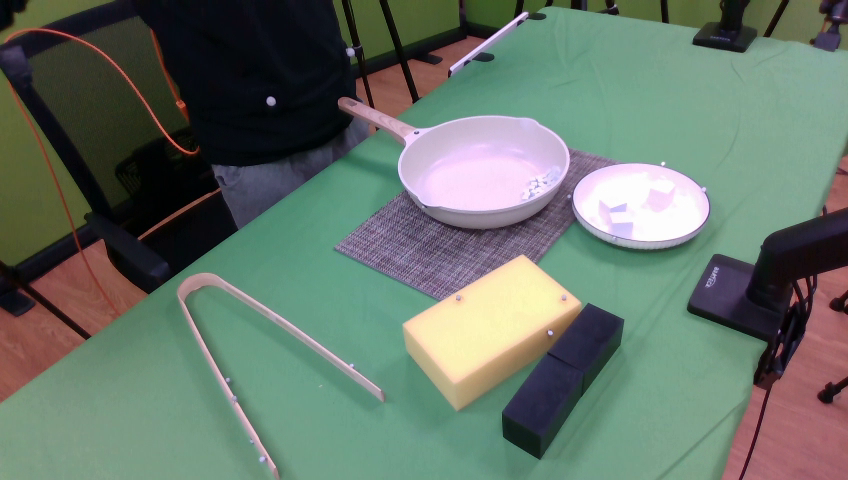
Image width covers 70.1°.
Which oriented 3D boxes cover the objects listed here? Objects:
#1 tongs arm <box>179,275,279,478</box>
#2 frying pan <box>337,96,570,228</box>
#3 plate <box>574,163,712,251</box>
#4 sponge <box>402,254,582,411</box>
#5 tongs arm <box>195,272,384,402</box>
[{"bbox_3d":[-0.260,0.161,0.807,0.051,0.026,0.381,-29,44,-25],"label":"tongs arm"},{"bbox_3d":[0.023,-0.167,1.090,0.484,0.103,0.308,32,52,26],"label":"frying pan"},{"bbox_3d":[0.344,-0.050,0.966,0.207,0.039,0.206,-4,40,4],"label":"plate"},{"bbox_3d":[0.089,0.114,0.791,0.208,0.061,0.117,-28,48,-23],"label":"sponge"},{"bbox_3d":[-0.198,0.125,0.847,0.384,0.028,0.028,25,52,32],"label":"tongs arm"}]
